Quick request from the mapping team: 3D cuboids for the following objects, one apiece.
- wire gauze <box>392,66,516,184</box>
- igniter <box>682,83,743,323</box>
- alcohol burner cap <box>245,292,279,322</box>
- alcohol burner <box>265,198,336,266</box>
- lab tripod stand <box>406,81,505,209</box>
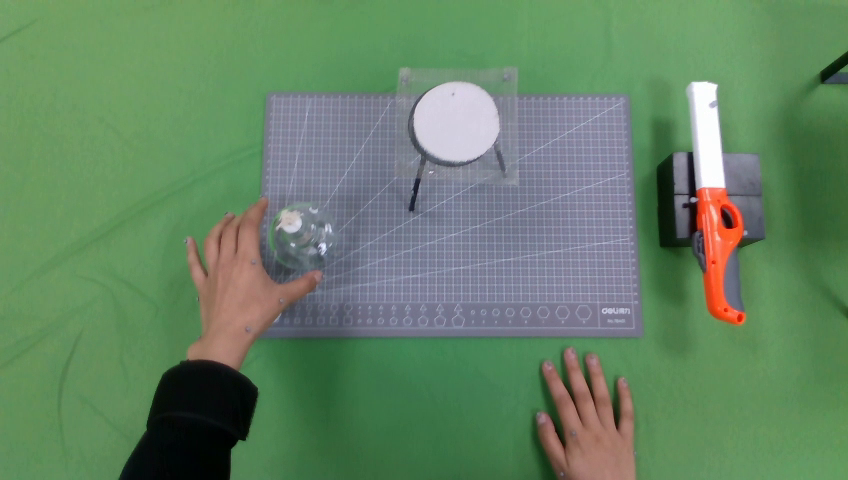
[{"bbox_3d":[0.031,-0.117,0.605,0.125,0.011,0.121,3,79,0],"label":"wire gauze"},{"bbox_3d":[0.318,-0.046,0.674,0.057,0.025,0.275,0,77,-4],"label":"igniter"},{"bbox_3d":[-0.184,0.074,0.681,0.034,0.048,0.033,0,76,-1],"label":"alcohol burner cap"},{"bbox_3d":[-0.138,-0.011,0.661,0.078,0.119,0.077,0,81,-1],"label":"alcohol burner"},{"bbox_3d":[0.024,-0.109,0.672,0.148,0.132,0.147,0,78,1],"label":"lab tripod stand"}]
